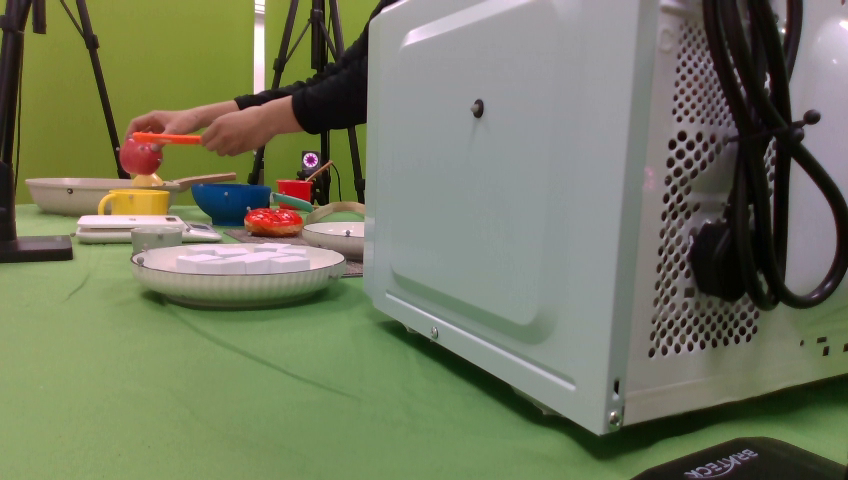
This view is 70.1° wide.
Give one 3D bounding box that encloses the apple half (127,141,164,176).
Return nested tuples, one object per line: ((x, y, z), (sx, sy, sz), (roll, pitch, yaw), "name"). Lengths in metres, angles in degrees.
((-0.566, -0.168, 1.245), (0.032, 0.081, 0.082), (9, 10, 36), "apple half")

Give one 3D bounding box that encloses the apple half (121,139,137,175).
((-0.597, -0.173, 1.267), (0.053, 0.074, 0.081), (9, 8, 35), "apple half")

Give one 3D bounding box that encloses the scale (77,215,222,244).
((-0.434, -0.019, 0.963), (0.202, 0.031, 0.148), (-1, 9, -27), "scale")

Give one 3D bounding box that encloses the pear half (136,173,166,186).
((-0.602, -0.120, 1.354), (0.056, 0.110, 0.076), (4, 11, 6), "pear half")

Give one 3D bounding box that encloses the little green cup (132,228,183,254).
((-0.342, 0.006, 0.779), (0.061, 0.038, 0.061), (2, 8, 0), "little green cup")

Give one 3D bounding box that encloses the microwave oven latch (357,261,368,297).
((-0.019, 0.033, 0.531), (0.079, 0.029, 0.030), (-1, 7, -27), "microwave oven latch")

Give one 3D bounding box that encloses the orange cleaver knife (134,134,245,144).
((-0.454, -0.193, 1.170), (0.212, 0.012, 0.077), (0, -1, -11), "orange cleaver knife")

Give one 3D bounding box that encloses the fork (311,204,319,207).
((-0.356, -0.105, 1.526), (0.208, 0.018, 0.028), (16, -6, -41), "fork")

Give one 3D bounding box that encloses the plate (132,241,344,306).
((-0.187, 0.033, 0.625), (0.208, 0.039, 0.207), (2, 7, 0), "plate")

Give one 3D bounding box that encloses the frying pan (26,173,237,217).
((-0.624, -0.118, 1.387), (0.305, 0.102, 0.490), (8, 17, 32), "frying pan")

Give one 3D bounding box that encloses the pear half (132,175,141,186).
((-0.638, -0.113, 1.360), (0.031, 0.088, 0.070), (5, 10, 4), "pear half")

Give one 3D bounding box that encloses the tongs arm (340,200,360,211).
((-0.149, -0.070, 1.428), (0.051, 0.026, 0.383), (-4, 9, -15), "tongs arm")

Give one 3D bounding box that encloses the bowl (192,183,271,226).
((-0.382, -0.070, 1.202), (0.151, 0.077, 0.151), (3, 7, 0), "bowl")

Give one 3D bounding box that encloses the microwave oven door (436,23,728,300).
((0.180, -0.073, 0.621), (0.358, 0.243, 0.039), (-2, 9, -29), "microwave oven door")

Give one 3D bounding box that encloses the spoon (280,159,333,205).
((-0.316, -0.158, 1.640), (0.194, 0.022, 0.041), (-50, 32, -20), "spoon")

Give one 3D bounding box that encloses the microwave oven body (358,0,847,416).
((0.211, -0.047, 0.474), (0.444, 0.260, 0.324), (-1, 7, -28), "microwave oven body")

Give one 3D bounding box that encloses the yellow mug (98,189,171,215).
((-0.519, -0.055, 1.080), (0.099, 0.064, 0.131), (7, 10, 26), "yellow mug")

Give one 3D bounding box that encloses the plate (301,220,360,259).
((-0.077, -0.002, 0.893), (0.209, 0.038, 0.209), (3, 8, 0), "plate")

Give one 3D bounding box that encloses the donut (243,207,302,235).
((-0.261, -0.032, 1.043), (0.099, 0.048, 0.099), (5, 9, 0), "donut")

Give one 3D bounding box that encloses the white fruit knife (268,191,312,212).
((-0.364, -0.105, 1.464), (0.208, 0.027, 0.016), (15, 0, -34), "white fruit knife")

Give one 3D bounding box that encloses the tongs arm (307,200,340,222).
((-0.234, -0.068, 1.413), (0.028, 0.028, 0.387), (-6, 8, 0), "tongs arm")
